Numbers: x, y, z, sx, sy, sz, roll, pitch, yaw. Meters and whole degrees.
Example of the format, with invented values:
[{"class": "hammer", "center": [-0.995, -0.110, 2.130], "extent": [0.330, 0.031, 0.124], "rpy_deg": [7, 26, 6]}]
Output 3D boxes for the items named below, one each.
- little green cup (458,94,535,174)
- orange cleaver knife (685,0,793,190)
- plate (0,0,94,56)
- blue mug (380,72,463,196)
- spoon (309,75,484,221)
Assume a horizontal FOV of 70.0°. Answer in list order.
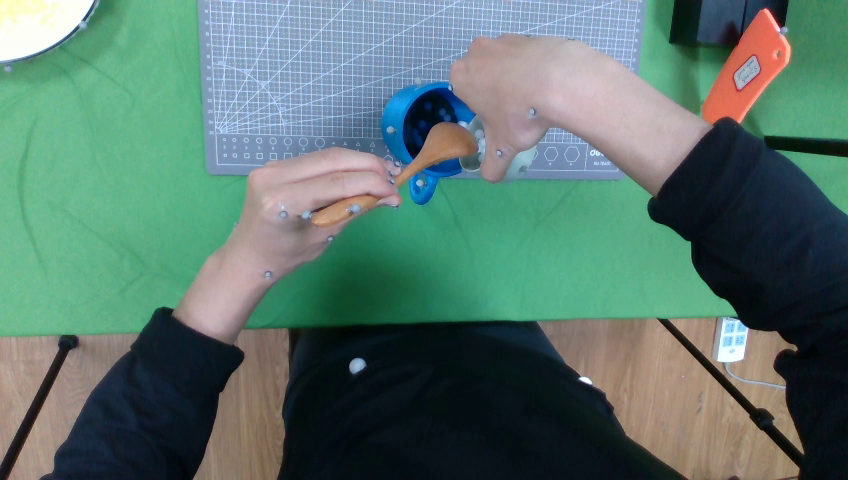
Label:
[{"class": "little green cup", "center": [0.062, -0.086, 0.509], "extent": [0.039, 0.061, 0.061], "rpy_deg": [21, 100, -34]}, {"class": "orange cleaver knife", "center": [0.325, -0.149, 0.652], "extent": [0.012, 0.076, 0.213], "rpy_deg": [-2, 136, -13]}, {"class": "plate", "center": [-0.368, -0.257, 0.490], "extent": [0.210, 0.038, 0.210], "rpy_deg": [-3, 106, -11]}, {"class": "blue mug", "center": [0.003, -0.100, 0.580], "extent": [0.082, 0.105, 0.117], "rpy_deg": [7, 103, -14]}, {"class": "spoon", "center": [-0.013, -0.068, 0.438], "extent": [0.042, 0.021, 0.193], "rpy_deg": [47, 59, -5]}]
